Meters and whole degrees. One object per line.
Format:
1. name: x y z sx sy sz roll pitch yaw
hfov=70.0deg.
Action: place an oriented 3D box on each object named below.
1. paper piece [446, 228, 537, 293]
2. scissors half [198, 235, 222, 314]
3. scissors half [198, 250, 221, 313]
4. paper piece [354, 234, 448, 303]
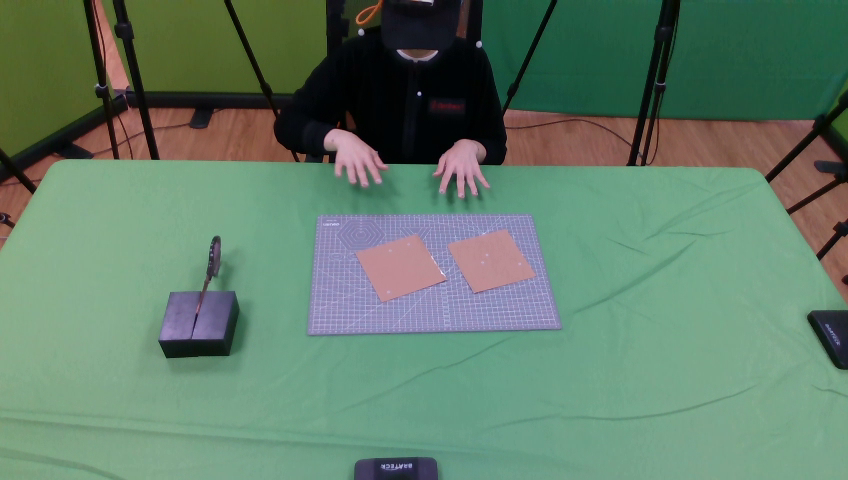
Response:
1. paper piece: 0.130 0.037 1.177 0.136 0.004 0.134 -14 49 -16
2. scissors half: -0.374 0.058 1.057 0.013 0.040 0.174 10 49 -13
3. scissors half: -0.379 0.073 1.070 0.013 0.040 0.174 6 32 -9
4. paper piece: -0.045 0.049 1.154 0.138 0.009 0.135 -17 46 -18
